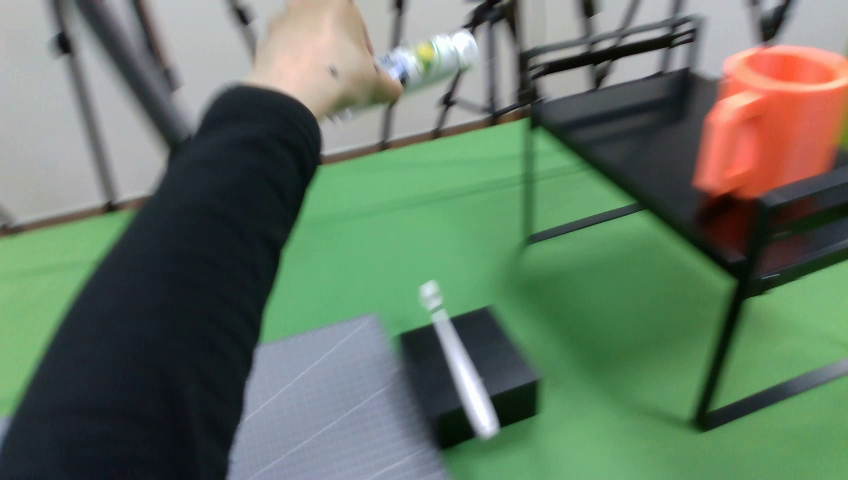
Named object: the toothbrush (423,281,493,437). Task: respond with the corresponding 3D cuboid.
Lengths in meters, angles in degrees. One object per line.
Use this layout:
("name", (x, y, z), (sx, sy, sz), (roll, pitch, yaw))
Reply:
("toothbrush", (0.027, 0.097, 0.536), (0.014, 0.017, 0.180), (-10, 38, -11))

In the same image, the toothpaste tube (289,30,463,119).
("toothpaste tube", (-0.026, -0.138, 0.485), (0.054, 0.035, 0.165), (36, 48, 27))

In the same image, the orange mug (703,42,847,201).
("orange mug", (0.269, -0.089, 0.471), (0.126, 0.101, 0.082), (-21, 40, -26))

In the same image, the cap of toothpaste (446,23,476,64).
("cap of toothpaste", (0.030, -0.171, 0.530), (0.037, 0.037, 0.011), (26, 44, 33))
